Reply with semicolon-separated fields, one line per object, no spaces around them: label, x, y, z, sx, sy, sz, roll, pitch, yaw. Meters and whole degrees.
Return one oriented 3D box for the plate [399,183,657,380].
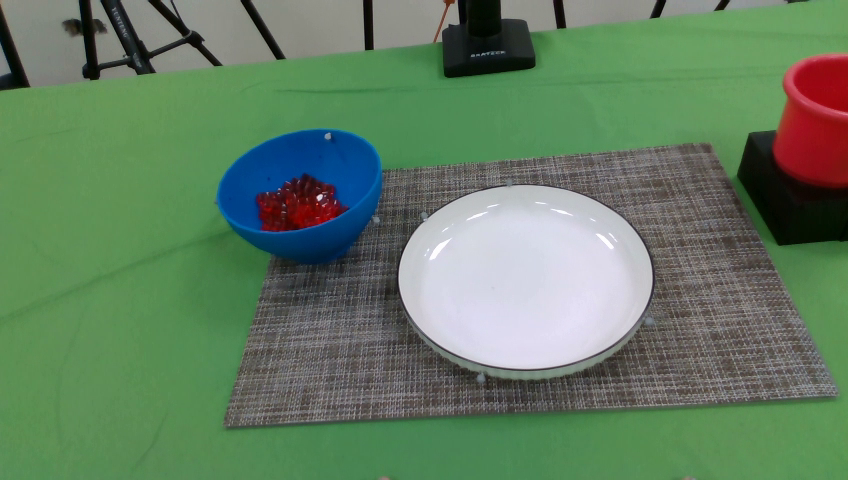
plate;0.084;0.032;0.509;0.207;0.039;0.205;-5;45;5

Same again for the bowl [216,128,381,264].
bowl;-0.108;-0.030;0.573;0.151;0.077;0.150;-5;45;5

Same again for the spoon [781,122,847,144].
spoon;0.347;-0.095;0.449;0.041;0.021;0.193;-20;1;-10
